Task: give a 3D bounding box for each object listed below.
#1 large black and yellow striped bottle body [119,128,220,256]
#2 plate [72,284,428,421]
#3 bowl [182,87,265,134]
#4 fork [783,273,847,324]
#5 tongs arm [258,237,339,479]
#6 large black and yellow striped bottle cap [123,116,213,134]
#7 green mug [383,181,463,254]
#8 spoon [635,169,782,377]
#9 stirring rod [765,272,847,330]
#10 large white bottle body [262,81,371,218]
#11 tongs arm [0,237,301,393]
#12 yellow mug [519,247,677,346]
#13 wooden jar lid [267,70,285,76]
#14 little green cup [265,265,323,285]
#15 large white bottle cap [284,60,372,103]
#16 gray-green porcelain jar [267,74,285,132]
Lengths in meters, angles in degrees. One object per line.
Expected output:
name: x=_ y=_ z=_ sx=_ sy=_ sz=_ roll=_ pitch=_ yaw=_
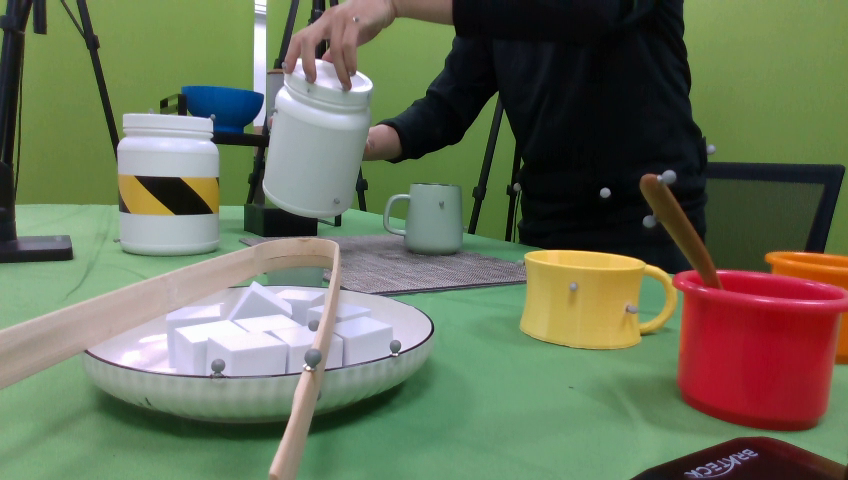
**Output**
large black and yellow striped bottle body: x=-0.355 y=-0.076 z=0.850 sx=0.131 sy=0.184 sz=0.130 roll=2 pitch=8 yaw=0
plate: x=-0.102 y=0.066 z=0.381 sx=0.208 sy=0.039 sz=0.207 roll=3 pitch=7 yaw=0
bowl: x=-0.383 y=-0.244 z=1.158 sx=0.151 sy=0.077 sz=0.151 roll=2 pitch=7 yaw=0
fork: x=0.332 y=0.018 z=0.443 sx=0.028 sy=0.018 sz=0.207 roll=-3 pitch=-35 yaw=-16
tongs arm: x=-0.074 y=0.040 z=0.345 sx=0.051 sy=0.026 sz=0.384 roll=-2 pitch=9 yaw=-3
large black and yellow striped bottle cap: x=-0.353 y=-0.159 z=0.838 sx=0.115 sy=0.019 sz=0.115 roll=2 pitch=6 yaw=0
green mug: x=-0.001 y=-0.036 z=0.922 sx=0.126 sy=0.105 sz=0.092 roll=0 pitch=8 yaw=-15
spoon: x=0.161 y=0.026 z=0.346 sx=0.021 sy=0.194 sz=0.041 roll=-51 pitch=32 yaw=-19
stirring rod: x=0.352 y=0.020 z=0.481 sx=0.176 sy=0.006 sz=0.014 roll=-40 pitch=-8 yaw=17
large white bottle body: x=-0.148 y=-0.138 z=0.841 sx=0.131 sy=0.184 sz=0.130 roll=13 pitch=30 yaw=-8
tongs arm: x=-0.158 y=0.039 z=0.347 sx=0.028 sy=0.028 sz=0.388 roll=-3 pitch=8 yaw=11
yellow mug: x=0.148 y=0.045 z=0.513 sx=0.131 sy=0.064 sz=0.100 roll=3 pitch=7 yaw=0
wooden jar lid: x=-0.275 y=-0.339 z=1.271 sx=0.108 sy=0.020 sz=0.108 roll=5 pitch=6 yaw=0
little green cup: x=-0.134 y=0.033 z=0.628 sx=0.061 sy=0.038 sz=0.061 roll=3 pitch=7 yaw=0
large white bottle cap: x=-0.126 y=-0.209 z=0.798 sx=0.115 sy=0.018 sz=0.114 roll=13 pitch=30 yaw=-7
gray-green porcelain jar: x=-0.277 y=-0.279 z=1.280 sx=0.106 sy=0.126 sz=0.106 roll=2 pitch=8 yaw=0
